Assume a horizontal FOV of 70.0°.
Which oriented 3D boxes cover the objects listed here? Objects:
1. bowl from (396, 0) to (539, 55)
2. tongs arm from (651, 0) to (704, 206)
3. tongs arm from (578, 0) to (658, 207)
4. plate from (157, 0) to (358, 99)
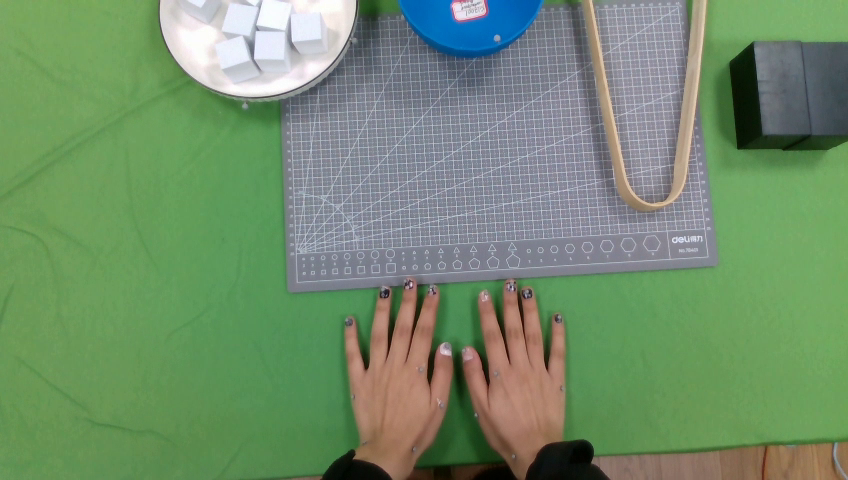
[{"bbox_3d":[0.042,-0.252,0.628,0.151,0.077,0.151,0,82,-1],"label":"bowl"},{"bbox_3d":[0.283,-0.224,0.654,0.028,0.028,0.386,10,83,-6],"label":"tongs arm"},{"bbox_3d":[0.196,-0.224,0.650,0.051,0.026,0.383,-5,83,-5],"label":"tongs arm"},{"bbox_3d":[-0.172,-0.246,0.644,0.208,0.039,0.207,0,82,0],"label":"plate"}]
